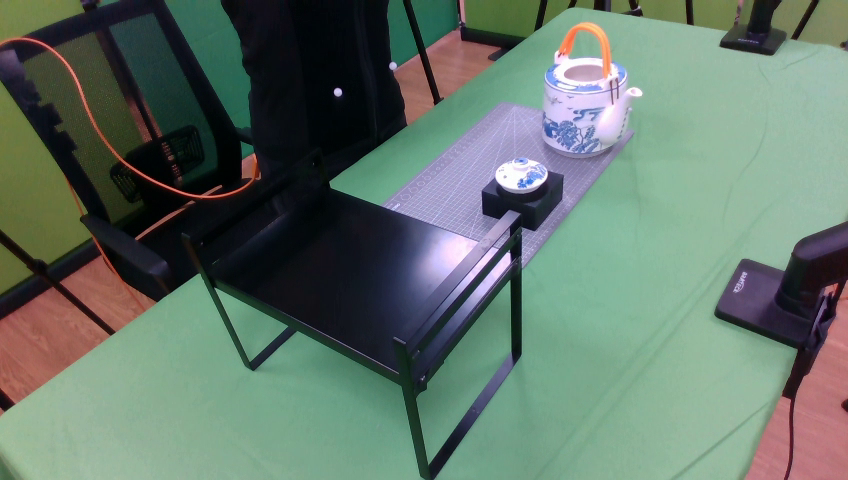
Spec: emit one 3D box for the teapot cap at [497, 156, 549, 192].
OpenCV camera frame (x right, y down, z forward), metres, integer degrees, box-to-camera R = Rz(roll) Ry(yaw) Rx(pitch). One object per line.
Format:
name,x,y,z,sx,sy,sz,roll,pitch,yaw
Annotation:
teapot cap,0.161,-0.113,0.986,0.085,0.044,0.085,-2,43,3

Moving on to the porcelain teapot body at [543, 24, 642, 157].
porcelain teapot body,0.305,-0.258,1.070,0.146,0.226,0.203,-26,44,-20
